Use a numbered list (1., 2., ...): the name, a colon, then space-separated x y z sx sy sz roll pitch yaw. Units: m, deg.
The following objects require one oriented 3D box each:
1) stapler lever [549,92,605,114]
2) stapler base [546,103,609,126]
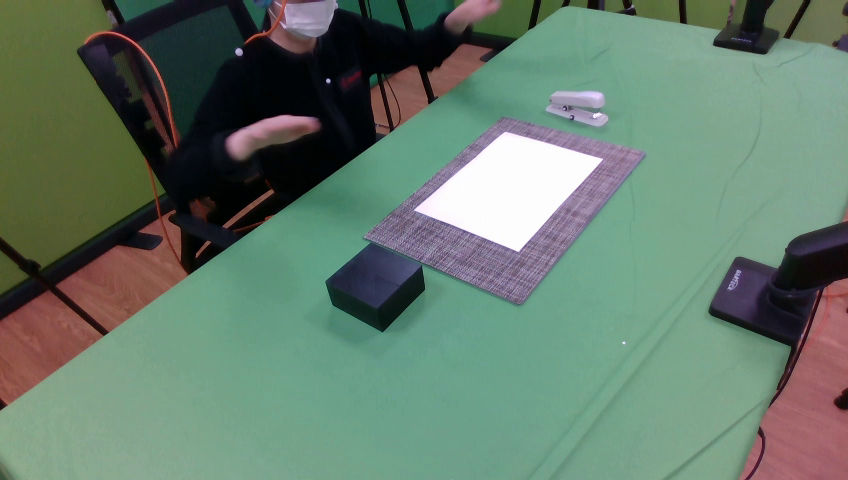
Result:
1. stapler lever: 0.309 -0.285 1.220 0.117 0.040 0.027 26 49 35
2. stapler base: 0.314 -0.265 1.235 0.129 0.024 0.041 26 49 35
